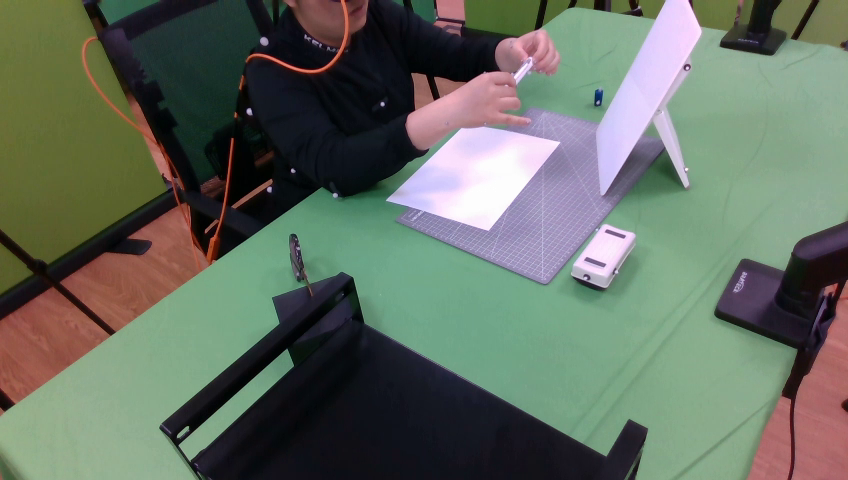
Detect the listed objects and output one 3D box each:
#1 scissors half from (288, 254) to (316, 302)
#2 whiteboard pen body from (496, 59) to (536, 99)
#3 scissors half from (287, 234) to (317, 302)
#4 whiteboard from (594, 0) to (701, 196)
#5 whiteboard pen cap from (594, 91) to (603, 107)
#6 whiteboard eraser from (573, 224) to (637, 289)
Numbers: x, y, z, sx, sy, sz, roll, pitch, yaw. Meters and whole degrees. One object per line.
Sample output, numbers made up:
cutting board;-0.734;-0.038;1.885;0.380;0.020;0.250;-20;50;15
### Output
scissors half;-0.178;0.058;0.894;0.013;0.040;0.174;-16;20;-18
whiteboard pen body;0.160;-0.279;1.052;0.017;0.017;0.141;19;49;28
scissors half;-0.179;0.040;0.885;0.013;0.040;0.173;-11;36;-21
whiteboard;0.420;-0.227;1.010;0.144;0.305;0.216;18;42;-2
whiteboard pen cap;0.364;-0.294;1.262;0.018;0.033;0.018;-6;41;6
whiteboard eraser;0.267;0.025;0.891;0.055;0.042;0.113;19;47;31
